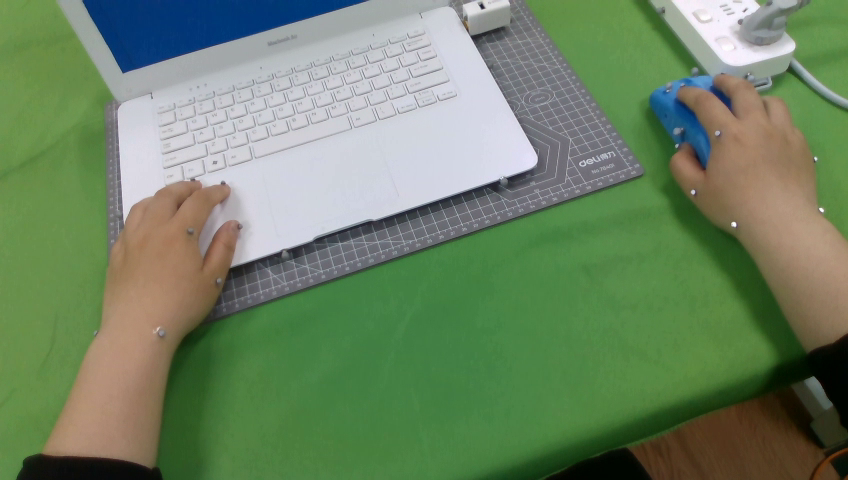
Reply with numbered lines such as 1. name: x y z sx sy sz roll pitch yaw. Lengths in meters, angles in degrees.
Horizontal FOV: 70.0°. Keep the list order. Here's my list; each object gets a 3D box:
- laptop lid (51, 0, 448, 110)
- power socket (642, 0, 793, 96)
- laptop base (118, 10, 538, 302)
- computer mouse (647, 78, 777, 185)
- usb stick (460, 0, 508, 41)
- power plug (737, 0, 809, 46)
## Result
1. laptop lid: -0.161 -0.266 0.545 0.357 0.244 0.013 -20 43 -4
2. power socket: 0.271 -0.228 0.594 0.072 0.033 0.224 -16 56 -2
3. laptop base: -0.102 -0.091 0.561 0.354 0.023 0.233 -19 59 -5
4. computer mouse: 0.239 -0.098 0.508 0.063 0.041 0.116 -16 50 0
5. usb stick: 0.054 -0.220 0.611 0.059 0.027 0.021 -20 56 -1
6. power plug: 0.316 -0.189 0.536 0.072 0.053 0.035 -7 57 4
